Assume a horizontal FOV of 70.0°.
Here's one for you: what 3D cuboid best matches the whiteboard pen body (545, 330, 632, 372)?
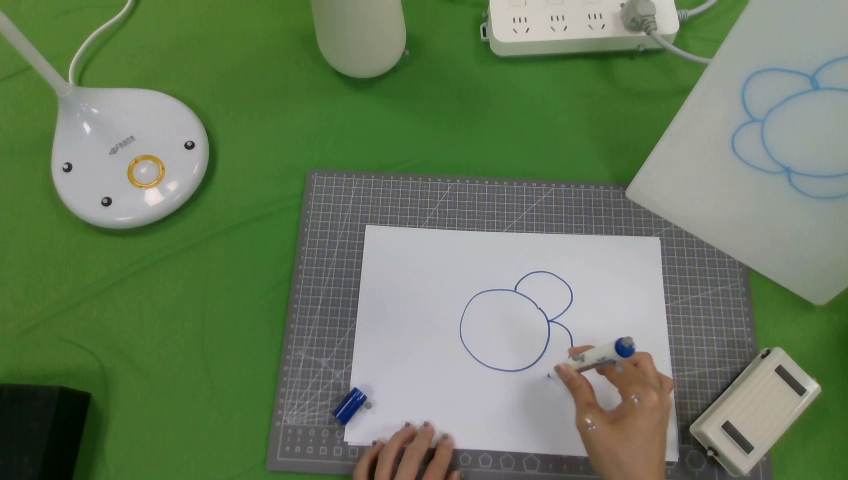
[{"bbox_3d":[0.131,0.096,0.505,0.017,0.141,0.017,5,69,-12],"label":"whiteboard pen body"}]

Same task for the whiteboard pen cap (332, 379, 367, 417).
[{"bbox_3d":[-0.067,0.144,0.553,0.018,0.018,0.033,37,73,13],"label":"whiteboard pen cap"}]

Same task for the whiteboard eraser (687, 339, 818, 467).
[{"bbox_3d":[0.290,0.143,0.539,0.112,0.042,0.055,-40,74,-12],"label":"whiteboard eraser"}]

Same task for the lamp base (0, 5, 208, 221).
[{"bbox_3d":[-0.319,-0.127,0.565,0.178,0.181,0.160,34,74,15],"label":"lamp base"}]

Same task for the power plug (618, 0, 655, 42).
[{"bbox_3d":[0.227,-0.237,0.656,0.035,0.053,0.072,7,77,3],"label":"power plug"}]

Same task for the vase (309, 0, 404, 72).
[{"bbox_3d":[-0.074,-0.258,0.600,0.098,0.201,0.097,0,70,2],"label":"vase"}]

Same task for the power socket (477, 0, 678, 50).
[{"bbox_3d":[0.175,-0.255,0.686,0.227,0.033,0.071,-2,71,-1],"label":"power socket"}]

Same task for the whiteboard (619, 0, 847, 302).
[{"bbox_3d":[0.356,-0.127,0.529,0.216,0.307,0.143,33,53,12],"label":"whiteboard"}]

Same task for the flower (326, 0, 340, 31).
[{"bbox_3d":[-0.055,-0.277,0.520,0.044,0.361,0.038,-40,92,-21],"label":"flower"}]
